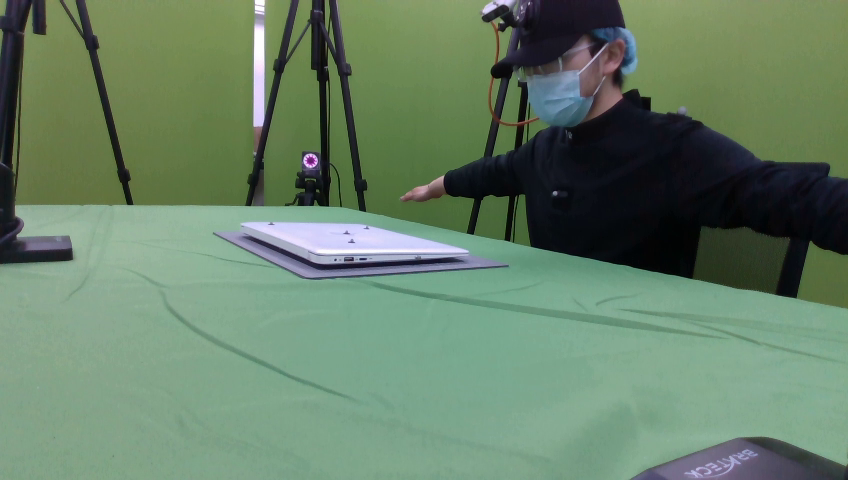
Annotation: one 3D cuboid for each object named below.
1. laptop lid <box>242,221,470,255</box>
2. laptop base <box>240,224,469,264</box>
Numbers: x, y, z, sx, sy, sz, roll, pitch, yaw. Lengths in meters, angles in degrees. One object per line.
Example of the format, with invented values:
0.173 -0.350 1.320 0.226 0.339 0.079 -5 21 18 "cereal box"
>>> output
-0.121 -0.007 0.936 0.243 0.013 0.355 1 7 -31 "laptop lid"
-0.123 0.005 0.936 0.237 0.023 0.352 2 6 -33 "laptop base"
